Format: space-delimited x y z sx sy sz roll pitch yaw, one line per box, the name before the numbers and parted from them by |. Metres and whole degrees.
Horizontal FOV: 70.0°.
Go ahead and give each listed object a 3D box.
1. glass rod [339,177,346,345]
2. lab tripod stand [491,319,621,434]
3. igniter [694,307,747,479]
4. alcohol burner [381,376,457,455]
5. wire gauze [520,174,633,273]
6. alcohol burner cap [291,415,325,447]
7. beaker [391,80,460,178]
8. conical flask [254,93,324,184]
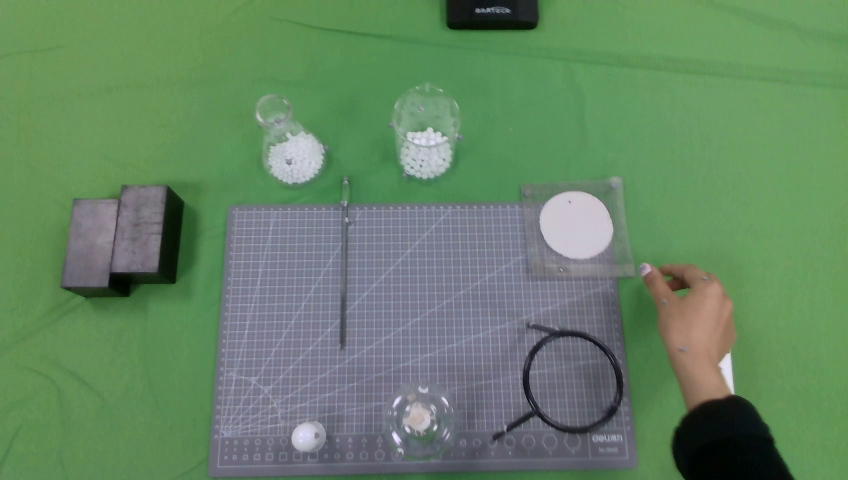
glass rod | -0.093 0.021 0.694 0.008 0.008 0.198 -1 73 -2
lab tripod stand | 0.128 0.143 0.600 0.148 0.132 0.147 0 75 -1
igniter | 0.314 0.209 0.645 0.057 0.025 0.275 7 73 -11
alcohol burner | -0.005 0.173 0.598 0.078 0.119 0.077 0 75 -1
wire gauze | 0.179 -0.019 0.715 0.125 0.011 0.120 -1 74 -2
alcohol burner cap | -0.122 0.198 0.625 0.034 0.048 0.033 1 74 -2
beaker | 0.001 -0.123 0.696 0.074 0.101 0.083 2 73 -1
conical flask | -0.157 -0.118 0.677 0.075 0.122 0.075 0 73 -1
